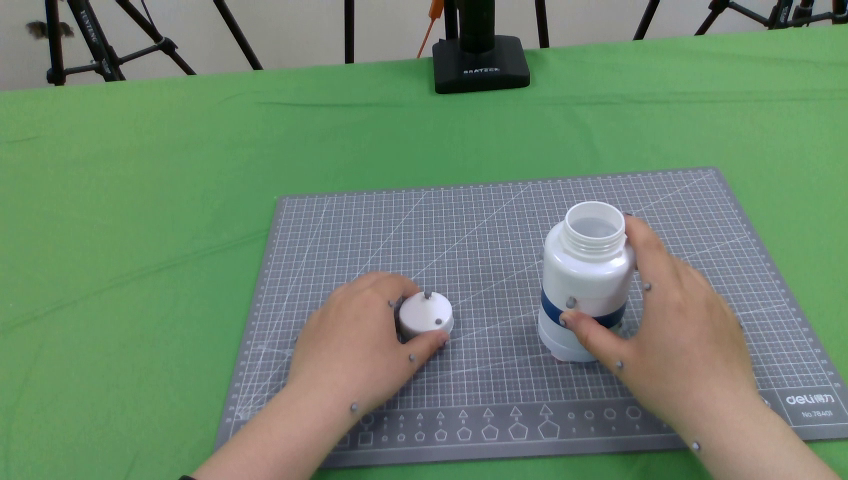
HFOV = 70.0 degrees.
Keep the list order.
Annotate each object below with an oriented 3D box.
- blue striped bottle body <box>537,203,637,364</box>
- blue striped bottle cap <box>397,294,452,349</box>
[{"bbox_3d":[0.116,0.030,0.438,0.063,0.122,0.062,-3,44,3],"label":"blue striped bottle body"},{"bbox_3d":[0.000,0.065,0.491,0.044,0.021,0.044,-1,42,2],"label":"blue striped bottle cap"}]
